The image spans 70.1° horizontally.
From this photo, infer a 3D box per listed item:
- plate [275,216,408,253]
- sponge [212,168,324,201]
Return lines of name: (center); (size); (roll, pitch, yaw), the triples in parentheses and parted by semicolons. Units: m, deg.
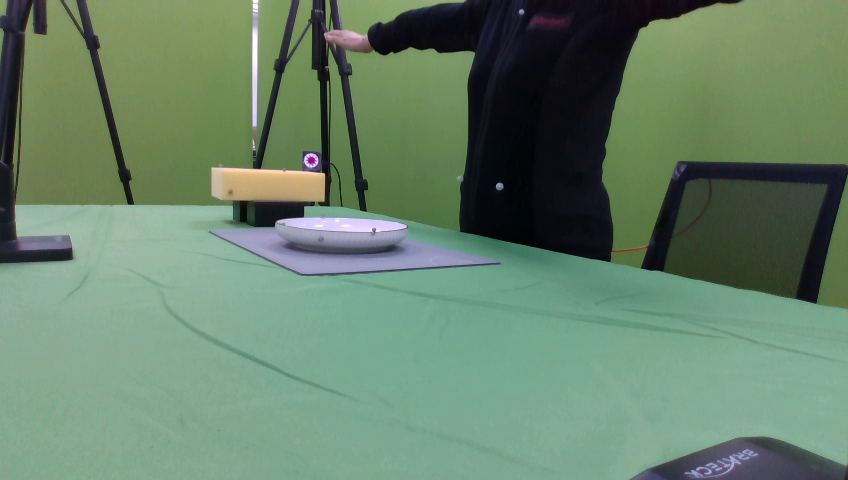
plate: (-0.129, -0.009, 0.954); (0.209, 0.038, 0.209); (2, 7, 0)
sponge: (-0.325, -0.115, 1.259); (0.208, 0.061, 0.117); (-2, 8, -30)
